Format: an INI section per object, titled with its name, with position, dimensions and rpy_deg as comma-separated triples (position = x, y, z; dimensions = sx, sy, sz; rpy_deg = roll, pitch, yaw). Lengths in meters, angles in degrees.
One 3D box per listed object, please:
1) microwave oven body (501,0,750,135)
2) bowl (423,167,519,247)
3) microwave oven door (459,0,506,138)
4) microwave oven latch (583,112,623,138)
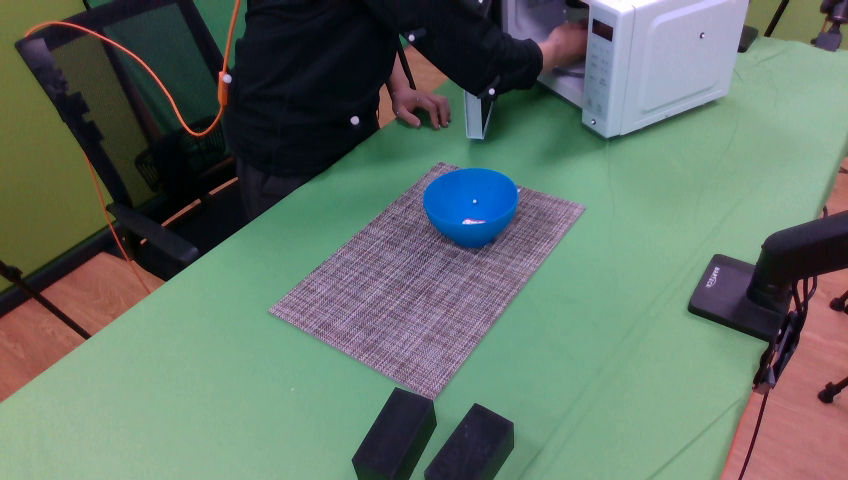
[microwave oven body]
position = 0.383, -0.445, 1.247
dimensions = 0.327, 0.261, 0.437
rpy_deg = -23, 42, -15
[bowl]
position = 0.076, -0.041, 0.959
dimensions = 0.151, 0.077, 0.150
rpy_deg = -4, 41, 4
[microwave oven door]
position = 0.125, -0.404, 1.227
dimensions = 0.039, 0.245, 0.355
rpy_deg = 2, 42, 14
[microwave oven latch]
position = 0.337, -0.221, 1.144
dimensions = 0.030, 0.029, 0.078
rpy_deg = -23, 42, -16
